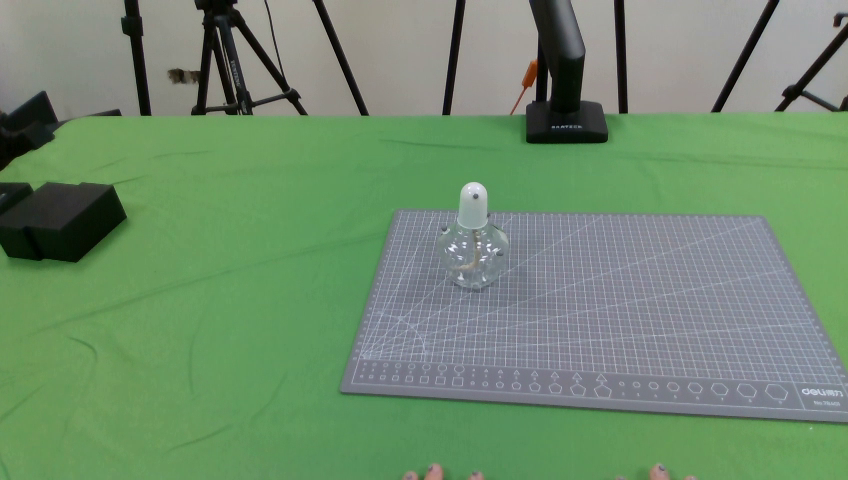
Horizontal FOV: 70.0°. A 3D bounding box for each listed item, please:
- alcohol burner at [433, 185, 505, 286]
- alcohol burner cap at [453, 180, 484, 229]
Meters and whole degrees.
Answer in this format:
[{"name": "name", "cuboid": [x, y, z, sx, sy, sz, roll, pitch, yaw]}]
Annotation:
[{"name": "alcohol burner", "cuboid": [0.048, -0.010, 0.638, 0.078, 0.120, 0.077, -1, 38, 1]}, {"name": "alcohol burner cap", "cuboid": [0.047, -0.039, 0.616, 0.034, 0.048, 0.033, 2, 39, -1]}]
